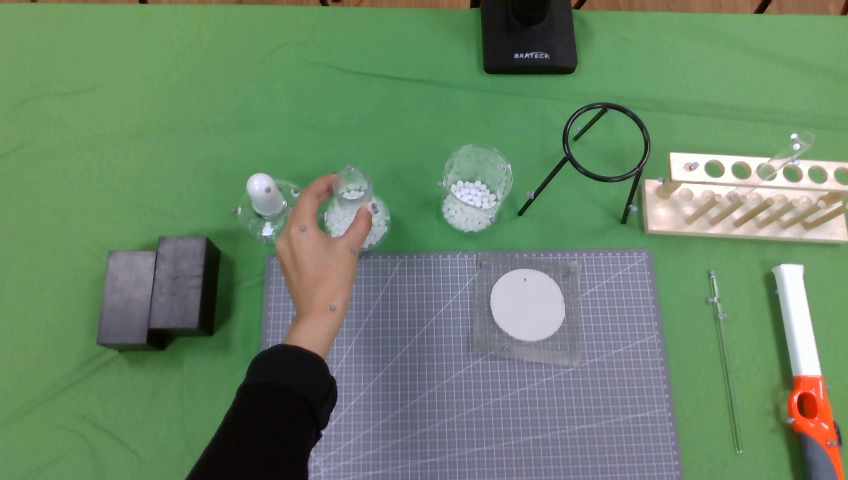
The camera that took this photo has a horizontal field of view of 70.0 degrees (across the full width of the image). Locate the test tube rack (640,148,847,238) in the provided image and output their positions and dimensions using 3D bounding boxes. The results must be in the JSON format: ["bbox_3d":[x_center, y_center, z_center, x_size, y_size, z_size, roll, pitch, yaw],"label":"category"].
[{"bbox_3d":[0.386,-0.052,0.701,0.242,0.085,0.066,3,72,-1],"label":"test tube rack"}]

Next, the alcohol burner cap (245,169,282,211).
[{"bbox_3d":[-0.167,-0.055,0.624,0.034,0.048,0.033,1,66,-3],"label":"alcohol burner cap"}]

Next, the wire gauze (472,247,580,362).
[{"bbox_3d":[0.117,0.071,0.689,0.125,0.011,0.121,8,72,-3],"label":"wire gauze"}]

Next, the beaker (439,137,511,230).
[{"bbox_3d":[0.054,-0.056,0.680,0.074,0.101,0.083,-18,75,-7],"label":"beaker"}]

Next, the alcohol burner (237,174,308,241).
[{"bbox_3d":[-0.168,-0.042,0.658,0.078,0.119,0.077,0,73,0],"label":"alcohol burner"}]

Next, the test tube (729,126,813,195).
[{"bbox_3d":[0.371,-0.082,0.657,0.017,0.151,0.017,0,72,1],"label":"test tube"}]

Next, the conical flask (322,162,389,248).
[{"bbox_3d":[-0.074,-0.041,0.635,0.075,0.122,0.075,1,75,-4],"label":"conical flask"}]

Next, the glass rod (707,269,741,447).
[{"bbox_3d":[0.337,0.129,0.683,0.008,0.008,0.198,0,73,-3],"label":"glass rod"}]

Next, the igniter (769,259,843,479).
[{"bbox_3d":[0.422,0.155,0.669,0.057,0.025,0.275,4,72,-11],"label":"igniter"}]

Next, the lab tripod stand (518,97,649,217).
[{"bbox_3d":[0.180,-0.084,0.677,0.148,0.132,0.147,1,75,-2],"label":"lab tripod stand"}]
